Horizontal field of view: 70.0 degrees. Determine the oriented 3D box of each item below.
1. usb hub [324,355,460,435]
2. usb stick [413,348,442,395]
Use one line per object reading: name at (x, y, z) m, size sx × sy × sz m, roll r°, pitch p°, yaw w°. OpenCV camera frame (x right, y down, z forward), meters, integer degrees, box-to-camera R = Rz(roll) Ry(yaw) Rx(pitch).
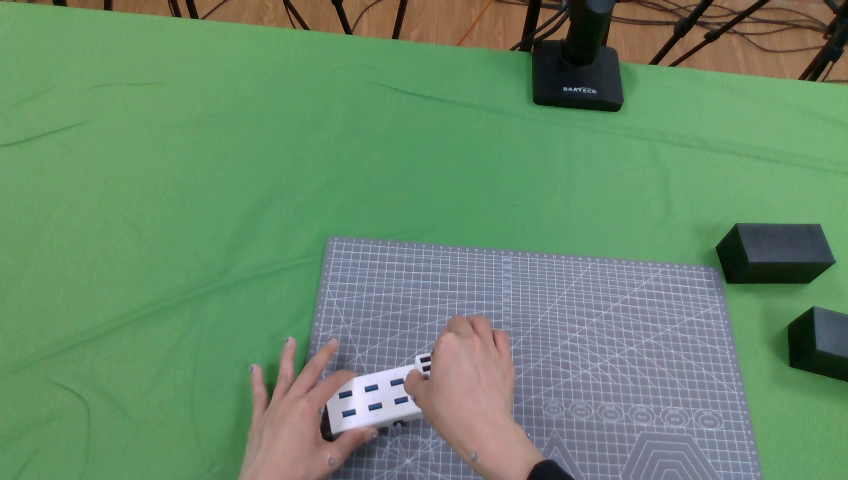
usb hub at (-0.031, 0.148, 0.587) m, size 0.125 × 0.025 × 0.049 m, roll -10°, pitch 60°, yaw -10°
usb stick at (0.003, 0.125, 0.562) m, size 0.021 × 0.059 × 0.027 m, roll -13°, pitch 54°, yaw -11°
